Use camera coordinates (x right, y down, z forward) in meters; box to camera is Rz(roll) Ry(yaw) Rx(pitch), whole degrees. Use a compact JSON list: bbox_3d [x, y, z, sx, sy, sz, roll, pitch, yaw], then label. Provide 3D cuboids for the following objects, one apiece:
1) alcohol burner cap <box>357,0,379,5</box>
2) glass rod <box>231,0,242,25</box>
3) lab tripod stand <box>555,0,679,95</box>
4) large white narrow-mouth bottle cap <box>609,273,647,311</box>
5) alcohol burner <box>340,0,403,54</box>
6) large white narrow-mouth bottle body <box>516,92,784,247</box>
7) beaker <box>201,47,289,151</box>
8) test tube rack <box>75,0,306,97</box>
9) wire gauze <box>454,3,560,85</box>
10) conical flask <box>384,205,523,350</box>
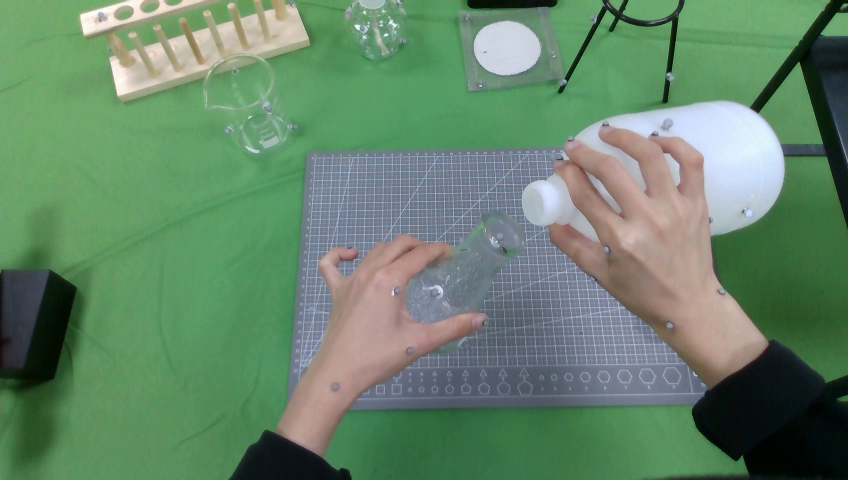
[{"bbox_3d":[-0.065,-0.300,0.697,0.034,0.048,0.033,4,66,-8],"label":"alcohol burner cap"},{"bbox_3d":[-0.229,-0.320,0.689,0.008,0.201,0.008,2,65,-3],"label":"glass rod"},{"bbox_3d":[0.232,-0.242,0.698,0.148,0.132,0.147,1,66,-1],"label":"lab tripod stand"},{"bbox_3d":[0.212,0.055,0.633,0.038,0.024,0.037,-1,66,3],"label":"large white narrow-mouth bottle cap"},{"bbox_3d":[-0.064,-0.284,0.730,0.078,0.120,0.077,0,64,0],"label":"alcohol burner"},{"bbox_3d":[0.157,-0.048,0.443,0.195,0.102,0.101,-13,66,-21],"label":"large white narrow-mouth bottle body"},{"bbox_3d":[-0.199,-0.152,0.682,0.084,0.101,0.073,-41,71,-15],"label":"beaker"},{"bbox_3d":[-0.276,-0.261,0.736,0.242,0.086,0.066,-20,68,-8],"label":"test tube rack"},{"bbox_3d":[0.105,-0.254,0.772,0.121,0.011,0.124,-5,67,-3],"label":"wire gauze"},{"bbox_3d":[0.026,0.025,0.459,0.076,0.122,0.074,20,44,-20],"label":"conical flask"}]
